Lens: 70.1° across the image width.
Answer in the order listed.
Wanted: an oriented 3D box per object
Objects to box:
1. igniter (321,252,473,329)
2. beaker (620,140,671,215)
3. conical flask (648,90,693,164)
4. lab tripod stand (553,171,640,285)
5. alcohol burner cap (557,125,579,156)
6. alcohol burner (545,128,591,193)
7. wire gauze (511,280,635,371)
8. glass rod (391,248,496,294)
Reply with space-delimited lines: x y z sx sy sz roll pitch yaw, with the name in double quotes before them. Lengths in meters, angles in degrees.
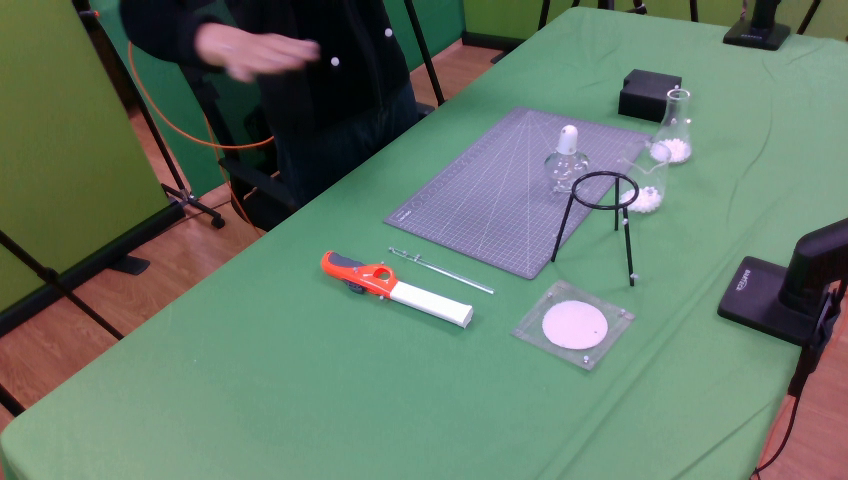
"igniter" -0.051 0.071 0.906 0.274 0.025 0.057 18 57 29
"beaker" 0.352 -0.096 0.971 0.074 0.101 0.084 1 42 13
"conical flask" 0.437 -0.199 1.057 0.075 0.122 0.075 -5 40 5
"lab tripod stand" 0.260 -0.025 0.877 0.148 0.132 0.147 -6 38 5
"alcohol burner cap" 0.241 -0.167 1.004 0.034 0.048 0.033 0 40 1
"alcohol burner" 0.245 -0.141 1.028 0.078 0.119 0.077 -5 42 5
"wire gauze" 0.203 0.114 0.822 0.120 0.011 0.125 25 52 35
"glass rod" 0.026 0.046 0.936 0.198 0.008 0.008 21 50 31
